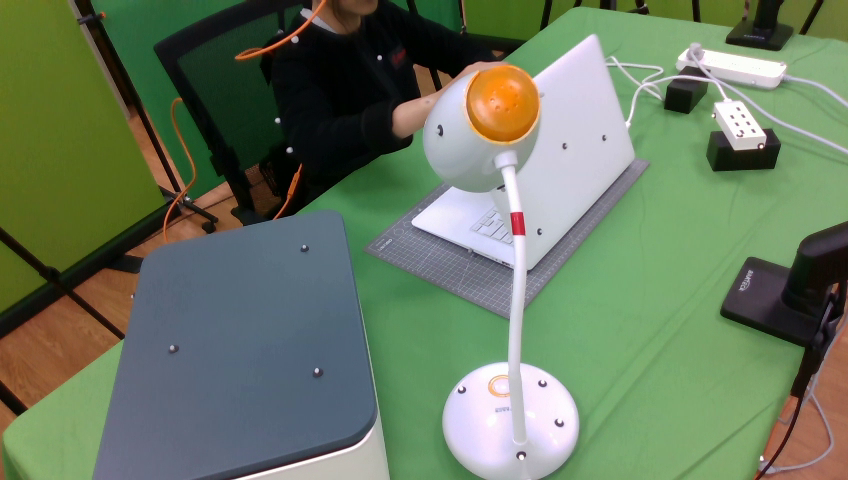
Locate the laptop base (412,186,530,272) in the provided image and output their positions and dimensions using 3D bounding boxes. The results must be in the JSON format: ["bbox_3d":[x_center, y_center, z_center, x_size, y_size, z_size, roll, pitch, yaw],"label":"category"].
[{"bbox_3d":[0.175,-0.083,1.055,0.233,0.023,0.355,21,48,36],"label":"laptop base"}]

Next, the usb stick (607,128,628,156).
[{"bbox_3d":[0.353,-0.178,1.110,0.021,0.027,0.059,21,57,30],"label":"usb stick"}]

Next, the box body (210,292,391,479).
[{"bbox_3d":[-0.190,0.161,0.723,0.255,0.161,0.361,-13,40,-5],"label":"box body"}]

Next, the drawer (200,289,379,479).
[{"bbox_3d":[-0.172,0.176,0.760,0.195,0.073,0.210,-13,42,-8],"label":"drawer"}]

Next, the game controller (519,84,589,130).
[{"bbox_3d":[0.273,-0.282,1.252,0.096,0.052,0.155,26,52,30],"label":"game controller"}]

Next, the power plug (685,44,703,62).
[{"bbox_3d":[0.568,-0.390,1.294,0.073,0.053,0.035,-33,46,-22],"label":"power plug"}]

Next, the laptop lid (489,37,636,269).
[{"bbox_3d":[0.215,-0.146,0.944,0.358,0.242,0.013,-40,22,-33],"label":"laptop lid"}]

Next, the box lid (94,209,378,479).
[{"bbox_3d":[-0.202,0.094,0.680,0.264,0.015,0.368,-13,39,-5],"label":"box lid"}]

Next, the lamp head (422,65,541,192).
[{"bbox_3d":[0.060,-0.106,0.560,0.113,0.112,0.122,-16,0,-8],"label":"lamp head"}]

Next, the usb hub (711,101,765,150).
[{"bbox_3d":[0.537,-0.198,1.038,0.049,0.025,0.124,-4,39,8],"label":"usb hub"}]

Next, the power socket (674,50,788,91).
[{"bbox_3d":[0.646,-0.363,1.284,0.225,0.033,0.072,25,52,34],"label":"power socket"}]

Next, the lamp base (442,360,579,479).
[{"bbox_3d":[0.094,0.158,0.657,0.161,0.181,0.178,-14,42,-5],"label":"lamp base"}]
